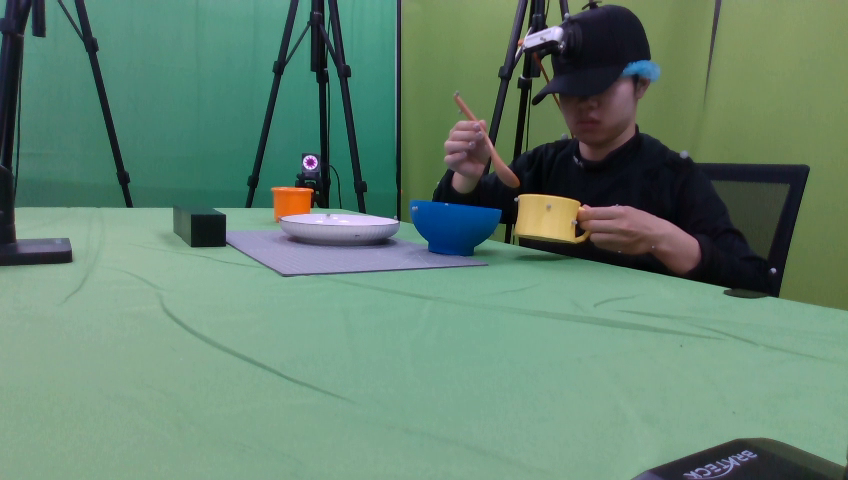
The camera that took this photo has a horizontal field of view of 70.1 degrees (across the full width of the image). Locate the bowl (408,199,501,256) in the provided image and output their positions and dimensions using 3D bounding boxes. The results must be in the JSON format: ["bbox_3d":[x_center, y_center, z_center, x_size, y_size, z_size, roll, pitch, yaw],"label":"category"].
[{"bbox_3d":[0.045,-0.018,0.968,0.151,0.077,0.151,7,5,0],"label":"bowl"}]

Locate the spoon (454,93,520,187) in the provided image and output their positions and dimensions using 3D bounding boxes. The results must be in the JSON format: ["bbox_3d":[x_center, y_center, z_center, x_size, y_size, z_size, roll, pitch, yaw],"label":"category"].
[{"bbox_3d":[0.104,-0.169,1.018,0.022,0.193,0.041,-26,-12,-16],"label":"spoon"}]

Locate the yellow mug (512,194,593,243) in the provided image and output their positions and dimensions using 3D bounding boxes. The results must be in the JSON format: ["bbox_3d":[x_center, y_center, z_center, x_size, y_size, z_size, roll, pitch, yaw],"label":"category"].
[{"bbox_3d":[0.210,-0.031,0.968,0.131,0.064,0.099,9,-1,-11],"label":"yellow mug"}]

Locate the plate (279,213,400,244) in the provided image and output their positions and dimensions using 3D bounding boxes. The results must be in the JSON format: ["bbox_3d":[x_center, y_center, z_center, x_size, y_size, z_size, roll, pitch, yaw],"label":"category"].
[{"bbox_3d":[-0.147,-0.020,1.060,0.209,0.038,0.209,3,7,0],"label":"plate"}]
